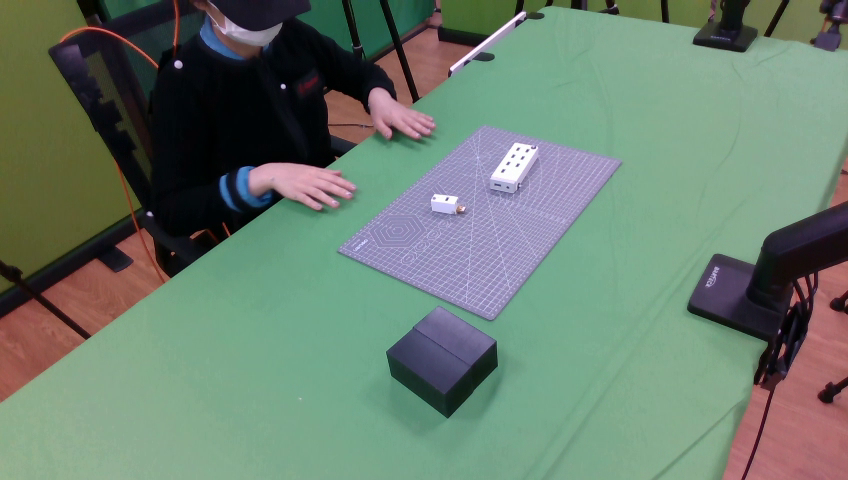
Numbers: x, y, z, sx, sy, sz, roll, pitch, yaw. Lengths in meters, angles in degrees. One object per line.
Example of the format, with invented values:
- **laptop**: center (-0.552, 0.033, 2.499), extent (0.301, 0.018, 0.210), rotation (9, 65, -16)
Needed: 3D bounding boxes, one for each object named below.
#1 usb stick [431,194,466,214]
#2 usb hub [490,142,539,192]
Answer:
- **usb stick**: center (0.043, -0.060, 1.025), extent (0.059, 0.027, 0.021), rotation (12, 43, 17)
- **usb hub**: center (0.165, -0.132, 1.092), extent (0.049, 0.025, 0.125), rotation (15, 46, 24)
